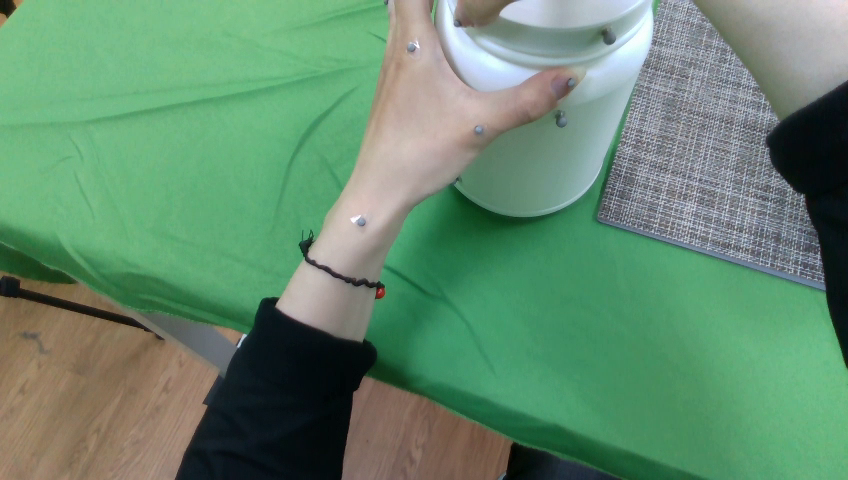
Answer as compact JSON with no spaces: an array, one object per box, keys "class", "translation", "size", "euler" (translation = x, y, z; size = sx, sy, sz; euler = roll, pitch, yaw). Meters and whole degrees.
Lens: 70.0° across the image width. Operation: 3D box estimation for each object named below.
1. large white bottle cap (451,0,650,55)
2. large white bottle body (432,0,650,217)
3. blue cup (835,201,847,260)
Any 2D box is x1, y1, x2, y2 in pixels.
[{"class":"large white bottle cap","translation":[0.068,-0.150,0.327],"size":[0.115,0.018,0.114],"euler":[-1,65,2]},{"class":"large white bottle body","translation":[0.071,-0.112,0.406],"size":[0.130,0.186,0.129],"euler":[-1,65,2]},{"class":"blue cup","translation":[0.326,-0.021,0.396],"size":[0.092,0.101,0.092],"euler":[-1,63,3]}]
